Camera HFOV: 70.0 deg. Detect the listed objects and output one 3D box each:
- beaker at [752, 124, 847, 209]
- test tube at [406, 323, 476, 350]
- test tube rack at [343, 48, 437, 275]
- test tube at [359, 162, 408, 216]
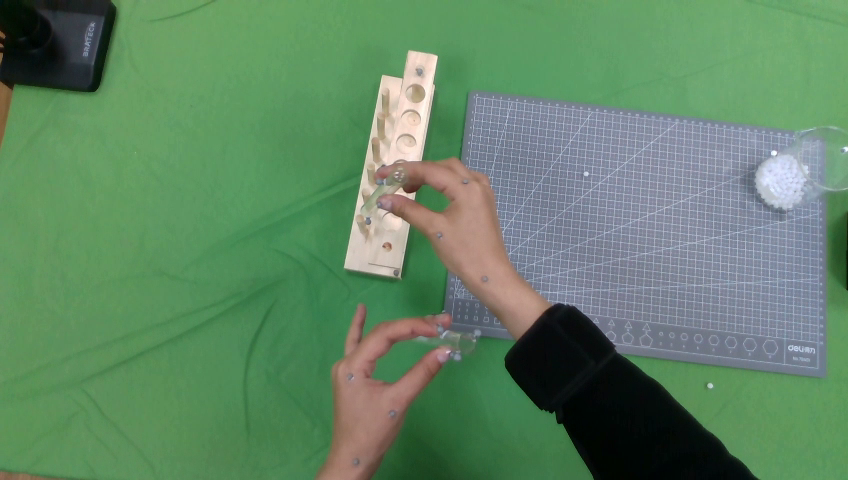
[{"bbox_3d":[0.432,-0.082,0.696,0.084,0.100,0.074,44,80,7],"label":"beaker"},{"bbox_3d":[0.010,0.080,0.512,0.017,0.150,0.017,2,84,-17],"label":"test tube"},{"bbox_3d":[-0.039,-0.088,0.686,0.067,0.085,0.241,10,79,0],"label":"test tube rack"},{"bbox_3d":[-0.039,-0.044,0.551,0.017,0.150,0.017,3,80,-16],"label":"test tube"}]
